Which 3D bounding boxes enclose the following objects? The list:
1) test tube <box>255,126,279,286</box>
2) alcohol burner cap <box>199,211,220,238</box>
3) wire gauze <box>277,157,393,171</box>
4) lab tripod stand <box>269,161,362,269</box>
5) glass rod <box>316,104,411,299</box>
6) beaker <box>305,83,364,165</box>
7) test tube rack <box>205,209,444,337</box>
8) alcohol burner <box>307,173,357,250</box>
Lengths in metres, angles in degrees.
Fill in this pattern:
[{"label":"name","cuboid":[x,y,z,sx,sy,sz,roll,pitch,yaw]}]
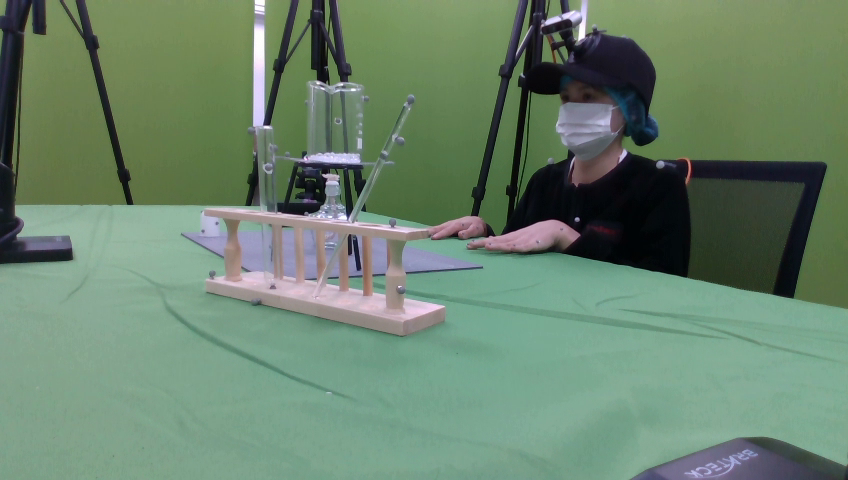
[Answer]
[{"label":"test tube","cuboid":[-0.147,-0.031,0.566,0.017,0.150,0.017,-1,8,0]},{"label":"alcohol burner cap","cuboid":[-0.356,-0.027,1.002,0.034,0.048,0.034,2,7,0]},{"label":"wire gauze","cuboid":[-0.122,-0.100,0.786,0.122,0.011,0.124,-5,14,-38]},{"label":"lab tripod stand","cuboid":[-0.125,-0.036,0.794,0.148,0.131,0.148,5,7,0]},{"label":"glass rod","cuboid":[-0.054,-0.026,0.516,0.008,0.199,0.008,23,24,-11]},{"label":"beaker","cuboid":[-0.116,-0.147,0.775,0.074,0.100,0.084,2,8,-2]},{"label":"test tube rack","cuboid":[-0.100,0.021,0.565,0.241,0.085,0.067,7,9,32]},{"label":"alcohol burner","cuboid":[-0.144,-0.045,0.940,0.078,0.119,0.078,1,8,0]}]
